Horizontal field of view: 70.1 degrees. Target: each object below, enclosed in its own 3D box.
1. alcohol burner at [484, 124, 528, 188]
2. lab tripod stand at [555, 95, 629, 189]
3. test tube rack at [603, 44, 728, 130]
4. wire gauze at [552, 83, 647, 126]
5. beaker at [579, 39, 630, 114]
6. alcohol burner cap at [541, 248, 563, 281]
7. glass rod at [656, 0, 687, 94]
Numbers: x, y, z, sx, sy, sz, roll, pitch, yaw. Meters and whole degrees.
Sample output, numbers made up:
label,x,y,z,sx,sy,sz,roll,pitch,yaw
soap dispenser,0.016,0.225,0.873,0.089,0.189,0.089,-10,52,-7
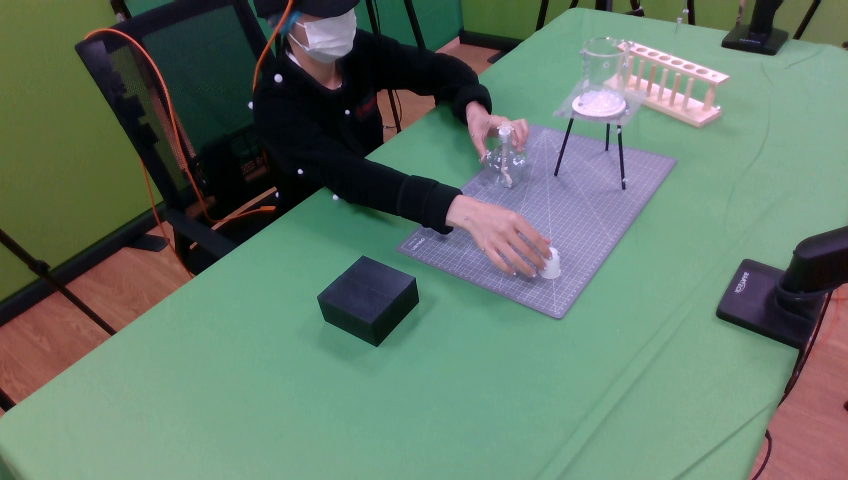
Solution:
label,x,y,z,sx,sy,sz,roll,pitch,yaw
alcohol burner,0.144,-0.152,1.059,0.078,0.119,0.077,-3,41,3
lab tripod stand,0.300,-0.174,1.045,0.148,0.132,0.147,-5,38,5
test tube rack,0.480,-0.316,1.227,0.067,0.085,0.240,-28,44,-22
wire gauze,0.293,-0.224,1.004,0.120,0.011,0.125,19,43,26
beaker,0.289,-0.263,0.975,0.073,0.101,0.084,17,45,27
alcohol burner cap,0.188,0.033,0.888,0.034,0.048,0.033,-5,40,5
glass rod,0.491,-0.381,1.199,0.008,0.200,0.008,1,41,0
